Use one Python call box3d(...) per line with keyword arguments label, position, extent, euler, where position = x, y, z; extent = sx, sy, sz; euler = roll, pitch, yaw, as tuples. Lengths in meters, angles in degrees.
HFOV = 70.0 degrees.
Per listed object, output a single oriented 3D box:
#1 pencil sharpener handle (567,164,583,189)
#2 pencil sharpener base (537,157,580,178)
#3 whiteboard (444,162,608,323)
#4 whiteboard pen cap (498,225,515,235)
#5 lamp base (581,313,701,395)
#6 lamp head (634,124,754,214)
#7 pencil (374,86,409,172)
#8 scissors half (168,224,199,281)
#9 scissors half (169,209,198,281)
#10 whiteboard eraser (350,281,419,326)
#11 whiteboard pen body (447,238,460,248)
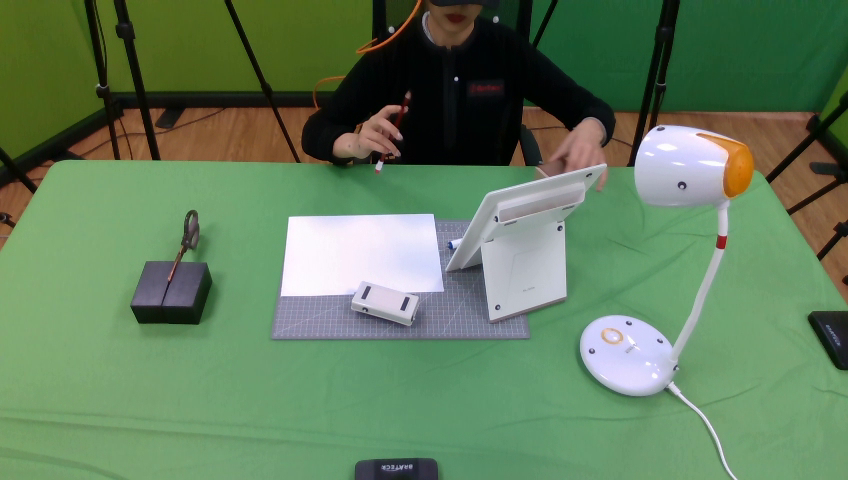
box3d(label="pencil sharpener handle", position=(0.315, -0.132, 1.244), extent=(0.031, 0.068, 0.036), euler=(-20, 59, -24))
box3d(label="pencil sharpener base", position=(0.272, -0.105, 1.230), extent=(0.077, 0.107, 0.061), euler=(-20, 48, -24))
box3d(label="whiteboard", position=(0.186, 0.025, 1.029), extent=(0.217, 0.306, 0.143), euler=(-14, 68, -18))
box3d(label="whiteboard pen cap", position=(0.166, -0.019, 1.222), extent=(0.033, 0.018, 0.018), euler=(-13, 49, -20))
box3d(label="lamp base", position=(0.361, 0.144, 0.972), extent=(0.178, 0.181, 0.160), euler=(34, 53, 23))
box3d(label="lamp head", position=(0.351, -0.089, 0.775), extent=(0.112, 0.113, 0.122), euler=(-30, 30, -28))
box3d(label="pencil", position=(-0.063, -0.214, 1.180), extent=(0.012, 0.194, 0.012), euler=(18, 33, -12))
box3d(label="scissors half", position=(-0.441, 0.023, 1.111), extent=(0.013, 0.040, 0.174), euler=(9, 29, -8))
box3d(label="scissors half", position=(-0.438, 0.007, 1.099), extent=(0.013, 0.040, 0.174), euler=(4, 48, -5))
box3d(label="whiteboard eraser", position=(-0.069, 0.113, 1.065), extent=(0.112, 0.042, 0.055), euler=(14, 46, 9))
box3d(label="whiteboard pen body", position=(0.112, -0.006, 1.203), extent=(0.141, 0.017, 0.017), euler=(-14, 49, -18))
